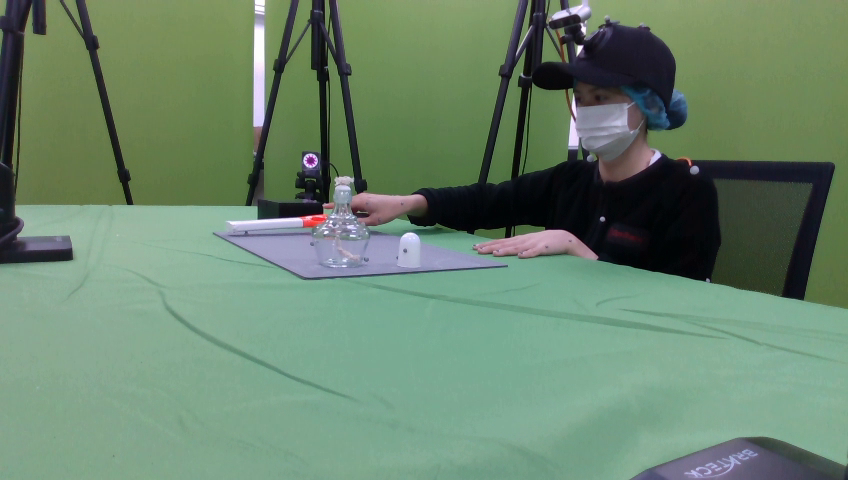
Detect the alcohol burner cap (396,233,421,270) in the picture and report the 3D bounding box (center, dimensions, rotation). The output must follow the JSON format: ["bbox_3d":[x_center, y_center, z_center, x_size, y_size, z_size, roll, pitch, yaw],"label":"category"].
[{"bbox_3d":[-0.020,0.014,0.795,0.034,0.048,0.034,2,6,0],"label":"alcohol burner cap"}]

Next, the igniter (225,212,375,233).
[{"bbox_3d":[-0.215,-0.032,1.092,0.278,0.025,0.057,-5,13,-35],"label":"igniter"}]

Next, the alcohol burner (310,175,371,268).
[{"bbox_3d":[-0.107,-0.024,0.778,0.078,0.119,0.078,3,5,0],"label":"alcohol burner"}]
